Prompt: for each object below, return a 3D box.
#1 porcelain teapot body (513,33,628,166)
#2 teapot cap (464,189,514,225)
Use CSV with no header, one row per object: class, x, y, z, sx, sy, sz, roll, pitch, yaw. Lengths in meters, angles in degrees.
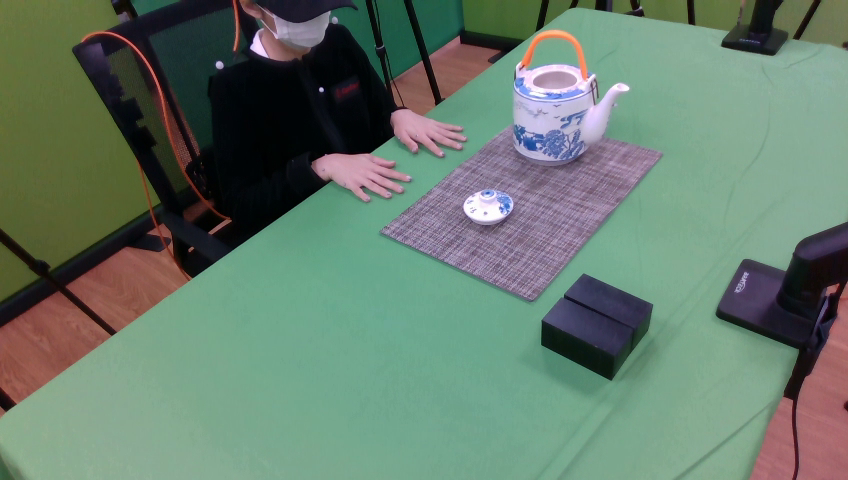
porcelain teapot body,0.256,-0.248,1.065,0.204,0.226,0.145,18,47,28
teapot cap,0.108,-0.061,1.010,0.085,0.044,0.085,-2,38,2
